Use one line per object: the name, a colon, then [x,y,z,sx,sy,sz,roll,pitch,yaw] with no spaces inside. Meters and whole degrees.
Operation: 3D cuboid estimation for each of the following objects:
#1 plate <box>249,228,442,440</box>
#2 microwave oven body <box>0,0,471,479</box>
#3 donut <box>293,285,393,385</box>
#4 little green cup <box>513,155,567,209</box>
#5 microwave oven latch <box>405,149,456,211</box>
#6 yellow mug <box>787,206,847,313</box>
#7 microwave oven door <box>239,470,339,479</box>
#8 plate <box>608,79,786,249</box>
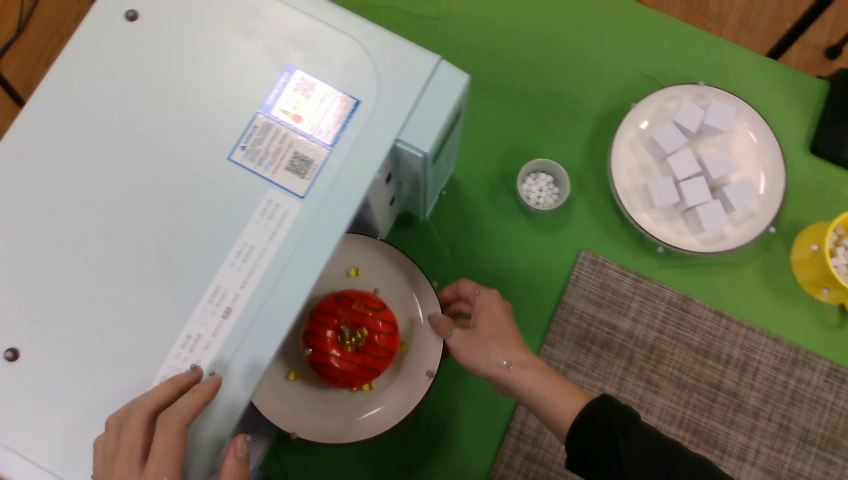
plate: [-0.087,0.092,0.608,0.209,0.038,0.208,1,84,-9]
microwave oven body: [-0.206,-0.006,0.579,0.326,0.261,0.440,28,81,3]
donut: [-0.079,0.093,0.600,0.099,0.048,0.099,0,88,-13]
little green cup: [0.134,-0.066,0.713,0.061,0.039,0.061,0,82,-1]
microwave oven latch: [0.007,-0.074,0.694,0.030,0.029,0.079,31,82,4]
yellow mug: [0.487,0.029,0.692,0.100,0.064,0.130,-12,81,-4]
microwave oven door: [-0.009,0.261,0.531,0.356,0.244,0.039,6,79,0]
plate: [0.320,-0.088,0.723,0.208,0.039,0.207,0,80,-1]
